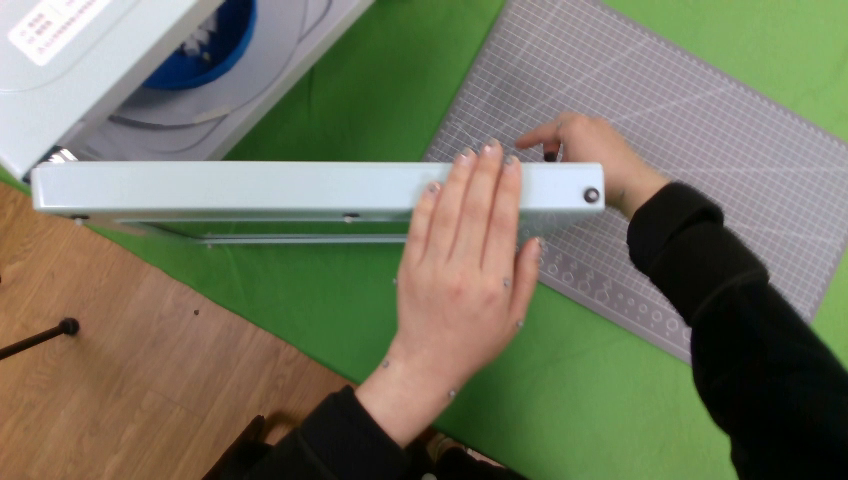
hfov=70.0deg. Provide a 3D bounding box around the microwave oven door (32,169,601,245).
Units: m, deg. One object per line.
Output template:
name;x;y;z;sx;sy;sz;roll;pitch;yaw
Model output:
microwave oven door;-0.068;-0.024;0.492;0.356;0.244;0.039;0;85;-4

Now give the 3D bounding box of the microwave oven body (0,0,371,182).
microwave oven body;-0.201;-0.278;0.505;0.326;0.260;0.441;43;85;0

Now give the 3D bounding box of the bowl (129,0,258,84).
bowl;-0.214;-0.198;0.530;0.151;0.077;0.151;0;83;-3
